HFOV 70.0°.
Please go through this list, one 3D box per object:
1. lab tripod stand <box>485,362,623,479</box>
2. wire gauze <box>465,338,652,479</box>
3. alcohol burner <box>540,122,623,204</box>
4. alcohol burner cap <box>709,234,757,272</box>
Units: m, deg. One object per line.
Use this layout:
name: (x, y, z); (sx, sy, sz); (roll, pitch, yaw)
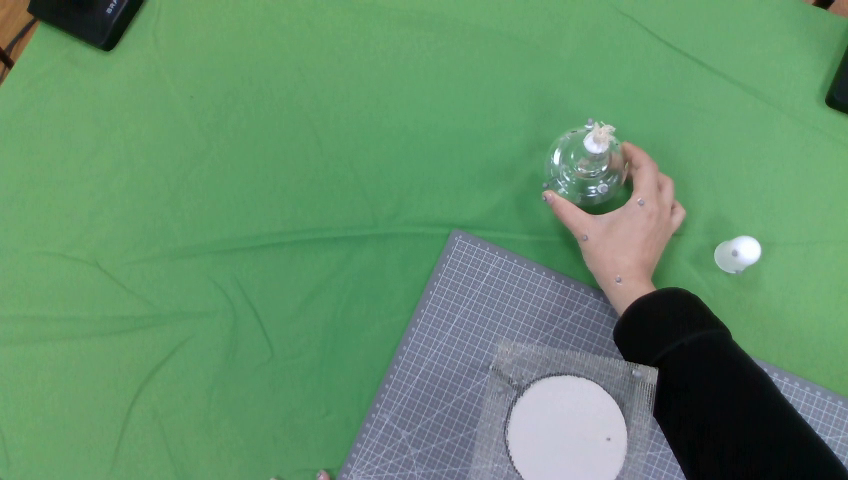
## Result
lab tripod stand: (0.105, 0.157, 0.502); (0.148, 0.132, 0.148); (0, 80, 3)
wire gauze: (0.097, 0.141, 0.438); (0.121, 0.011, 0.124); (11, 81, 5)
alcohol burner: (0.148, -0.076, 0.557); (0.078, 0.120, 0.077); (-1, 76, 4)
alcohol burner cap: (0.292, 0.011, 0.567); (0.034, 0.048, 0.033); (-1, 79, 7)
